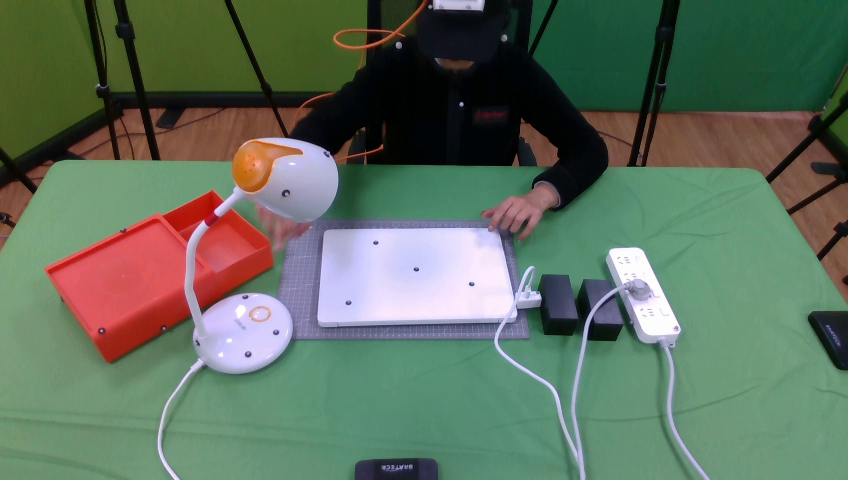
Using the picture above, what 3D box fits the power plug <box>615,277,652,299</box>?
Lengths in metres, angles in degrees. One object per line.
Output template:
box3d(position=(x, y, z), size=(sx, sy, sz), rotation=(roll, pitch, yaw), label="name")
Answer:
box3d(position=(0.375, 0.088, 1.096), size=(0.072, 0.053, 0.035), rotation=(6, 46, 2), label="power plug")

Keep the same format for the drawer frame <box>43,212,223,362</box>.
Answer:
box3d(position=(-0.497, 0.073, 1.049), size=(0.213, 0.083, 0.200), rotation=(-34, 57, -31), label="drawer frame")

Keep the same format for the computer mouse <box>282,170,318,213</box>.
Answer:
box3d(position=(-0.259, -0.106, 1.272), size=(0.063, 0.041, 0.116), rotation=(4, 49, -3), label="computer mouse")

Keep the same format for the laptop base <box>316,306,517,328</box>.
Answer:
box3d(position=(-0.017, 0.066, 1.133), size=(0.355, 0.023, 0.234), rotation=(-1, 42, -5), label="laptop base")

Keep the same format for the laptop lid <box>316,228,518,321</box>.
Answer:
box3d(position=(-0.016, 0.057, 1.126), size=(0.357, 0.013, 0.240), rotation=(0, 43, -4), label="laptop lid")

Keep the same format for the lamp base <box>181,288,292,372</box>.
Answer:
box3d(position=(-0.309, 0.108, 0.959), size=(0.160, 0.181, 0.179), rotation=(29, 55, 22), label="lamp base")

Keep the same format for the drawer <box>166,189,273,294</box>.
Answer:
box3d(position=(-0.419, 0.022, 1.108), size=(0.193, 0.073, 0.211), rotation=(37, 55, 27), label="drawer")

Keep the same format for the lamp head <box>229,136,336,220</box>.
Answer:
box3d(position=(-0.196, -0.085, 0.791), size=(0.112, 0.112, 0.123), rotation=(36, 15, 27), label="lamp head")

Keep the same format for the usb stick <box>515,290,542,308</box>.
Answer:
box3d(position=(0.181, 0.107, 1.089), size=(0.059, 0.027, 0.021), rotation=(-6, 47, -4), label="usb stick")

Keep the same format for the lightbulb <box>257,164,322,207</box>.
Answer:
box3d(position=(-0.181, -0.077, 0.810), size=(0.059, 0.059, 0.108), rotation=(36, 12, 27), label="lightbulb")

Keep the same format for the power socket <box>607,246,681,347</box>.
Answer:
box3d(position=(0.403, 0.096, 1.123), size=(0.072, 0.033, 0.225), rotation=(-3, 46, -5), label="power socket")
